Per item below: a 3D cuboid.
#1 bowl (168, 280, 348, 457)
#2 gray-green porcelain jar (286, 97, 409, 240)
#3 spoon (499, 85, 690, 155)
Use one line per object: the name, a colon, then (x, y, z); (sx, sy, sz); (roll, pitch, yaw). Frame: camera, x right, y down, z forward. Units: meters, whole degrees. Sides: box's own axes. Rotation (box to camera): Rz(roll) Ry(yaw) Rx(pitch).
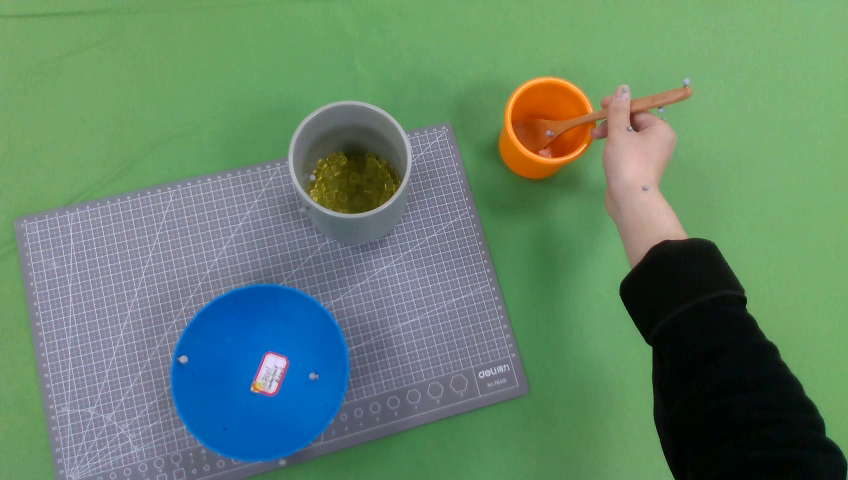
bowl: (-0.144, 0.116, 0.555); (0.151, 0.077, 0.150); (1, 79, -5)
gray-green porcelain jar: (-0.069, -0.059, 0.572); (0.106, 0.127, 0.105); (1, 78, -5)
spoon: (0.160, -0.120, 0.597); (0.022, 0.193, 0.041); (12, 73, -48)
